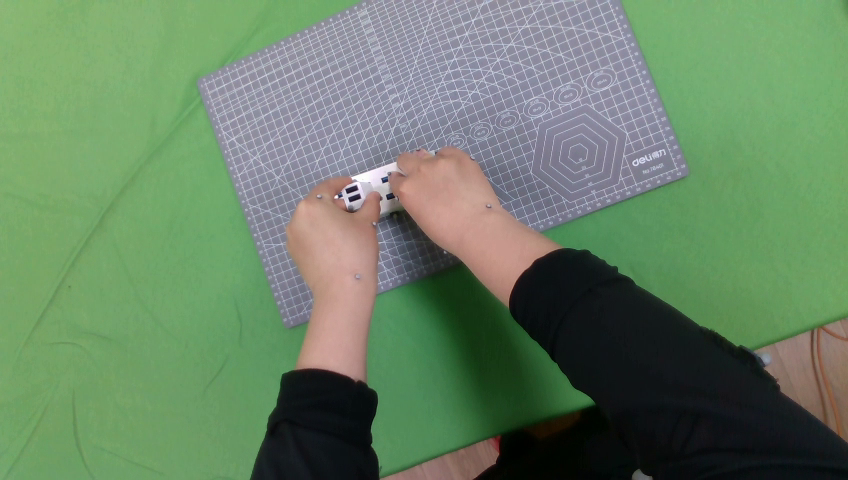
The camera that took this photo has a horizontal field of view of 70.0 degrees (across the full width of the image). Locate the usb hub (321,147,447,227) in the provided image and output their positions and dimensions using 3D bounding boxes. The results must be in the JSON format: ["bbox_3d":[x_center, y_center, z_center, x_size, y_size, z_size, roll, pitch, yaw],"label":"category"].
[{"bbox_3d":[-0.043,-0.055,0.634,0.125,0.025,0.049,-17,86,10],"label":"usb hub"}]

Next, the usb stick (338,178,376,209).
[{"bbox_3d":[-0.064,-0.046,0.603,0.021,0.059,0.027,-20,86,10],"label":"usb stick"}]
